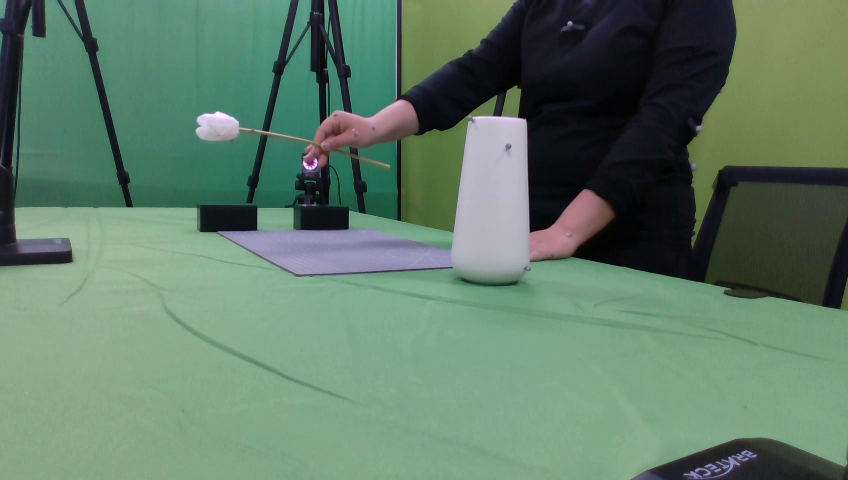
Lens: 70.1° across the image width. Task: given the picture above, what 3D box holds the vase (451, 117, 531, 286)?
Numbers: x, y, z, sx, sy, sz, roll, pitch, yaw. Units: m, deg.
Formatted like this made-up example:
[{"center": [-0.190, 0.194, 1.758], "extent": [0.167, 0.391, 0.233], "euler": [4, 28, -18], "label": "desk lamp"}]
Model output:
[{"center": [0.084, -0.047, 0.737], "extent": [0.098, 0.200, 0.098], "euler": [1, 6, 0], "label": "vase"}]

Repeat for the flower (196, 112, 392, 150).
[{"center": [-0.195, -0.168, 1.005], "extent": [0.364, 0.044, 0.038], "euler": [-1, 52, -42], "label": "flower"}]
